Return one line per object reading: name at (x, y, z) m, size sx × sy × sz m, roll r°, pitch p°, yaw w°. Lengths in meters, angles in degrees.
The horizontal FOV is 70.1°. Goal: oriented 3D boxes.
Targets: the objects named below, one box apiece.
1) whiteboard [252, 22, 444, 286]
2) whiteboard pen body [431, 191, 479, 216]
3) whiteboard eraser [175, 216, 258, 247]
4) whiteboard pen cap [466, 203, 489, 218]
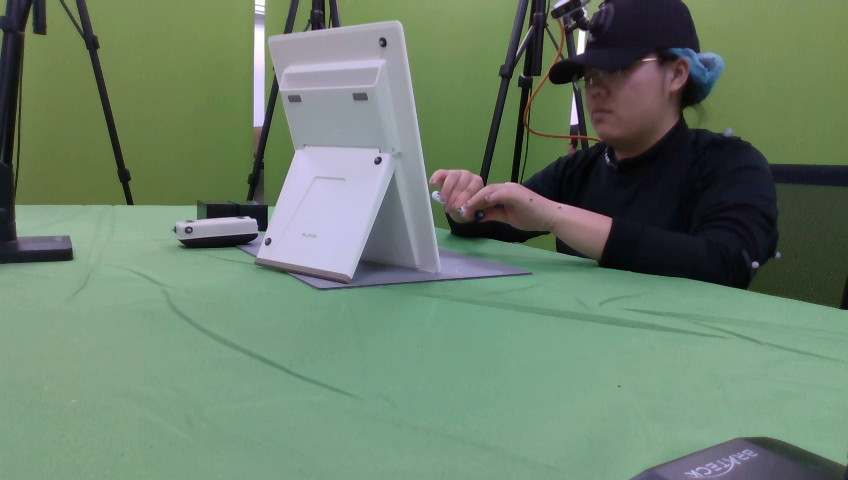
whiteboard at (-0.125, -0.081, 0.715) m, size 0.216 × 0.305 × 0.144 m, roll 9°, pitch 29°, yaw 36°
whiteboard pen body at (0.050, -0.057, 0.974) m, size 0.017 × 0.017 × 0.140 m, roll -1°, pitch 17°, yaw -29°
whiteboard eraser at (-0.314, -0.012, 0.915) m, size 0.113 × 0.042 × 0.055 m, roll -5°, pitch 12°, yaw -30°
whiteboard pen cap at (0.082, -0.044, 0.923) m, size 0.033 × 0.018 × 0.018 m, roll 19°, pitch 11°, yaw 12°
